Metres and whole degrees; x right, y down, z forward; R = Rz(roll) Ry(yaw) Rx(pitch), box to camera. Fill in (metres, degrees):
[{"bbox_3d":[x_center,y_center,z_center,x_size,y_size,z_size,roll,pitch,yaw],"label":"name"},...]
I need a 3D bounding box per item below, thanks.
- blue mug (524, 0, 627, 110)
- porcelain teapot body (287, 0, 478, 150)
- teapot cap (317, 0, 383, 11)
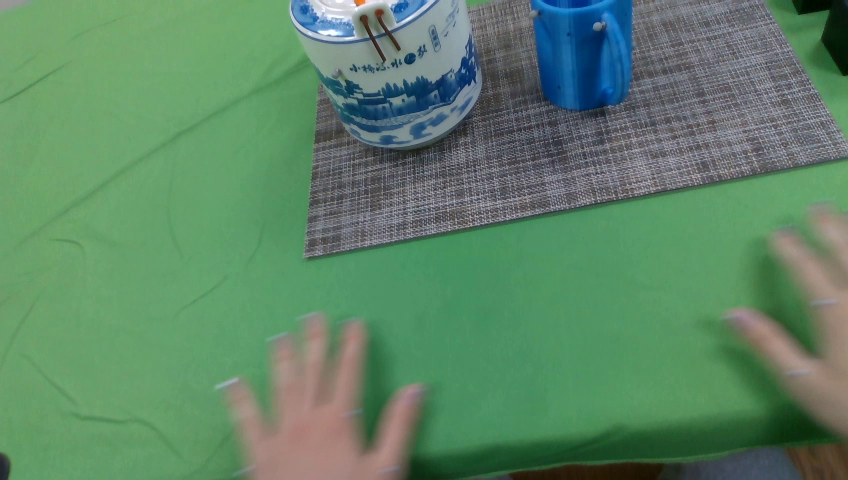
[{"bbox_3d":[0.140,-0.168,0.520,0.082,0.107,0.115,-24,53,1],"label":"blue mug"},{"bbox_3d":[-0.045,-0.217,0.536,0.145,0.228,0.203,-17,53,6],"label":"porcelain teapot body"},{"bbox_3d":[-0.051,-0.217,0.488,0.085,0.044,0.084,-7,53,10],"label":"teapot cap"}]
